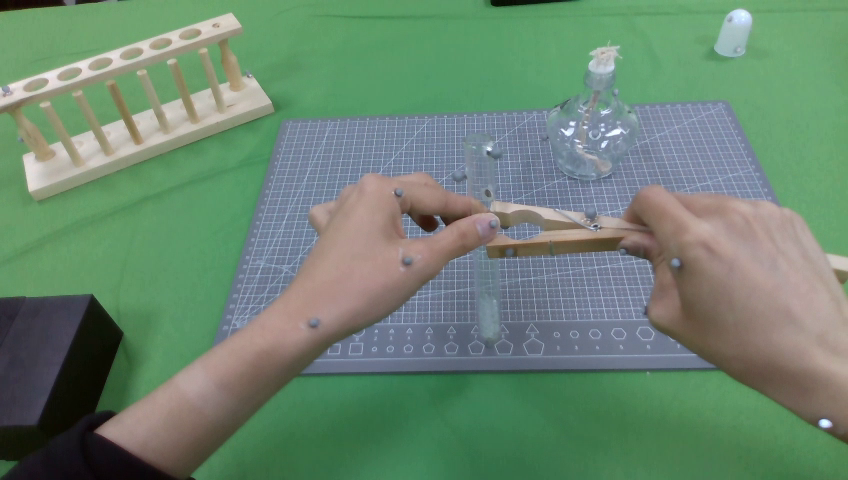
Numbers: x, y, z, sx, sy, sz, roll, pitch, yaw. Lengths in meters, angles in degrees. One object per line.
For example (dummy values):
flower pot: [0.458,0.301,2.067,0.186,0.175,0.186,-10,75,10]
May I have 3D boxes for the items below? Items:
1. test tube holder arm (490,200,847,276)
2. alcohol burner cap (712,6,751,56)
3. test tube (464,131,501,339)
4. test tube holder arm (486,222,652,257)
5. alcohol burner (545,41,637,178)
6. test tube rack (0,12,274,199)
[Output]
test tube holder arm: [0.122,-0.003,0.321,0.177,0.015,0.013,9,62,20]
alcohol burner cap: [0.332,-0.225,0.648,0.034,0.048,0.033,-4,49,5]
test tube: [0.036,0.005,0.358,0.017,0.151,0.017,-4,38,4]
test tube holder arm: [0.078,-0.001,0.332,0.087,0.015,0.010,-5,57,12]
alcohol burner: [0.143,-0.112,0.514,0.078,0.120,0.077,-2,47,3]
test tube rack: [-0.283,-0.136,0.598,0.242,0.086,0.066,-25,51,-16]
